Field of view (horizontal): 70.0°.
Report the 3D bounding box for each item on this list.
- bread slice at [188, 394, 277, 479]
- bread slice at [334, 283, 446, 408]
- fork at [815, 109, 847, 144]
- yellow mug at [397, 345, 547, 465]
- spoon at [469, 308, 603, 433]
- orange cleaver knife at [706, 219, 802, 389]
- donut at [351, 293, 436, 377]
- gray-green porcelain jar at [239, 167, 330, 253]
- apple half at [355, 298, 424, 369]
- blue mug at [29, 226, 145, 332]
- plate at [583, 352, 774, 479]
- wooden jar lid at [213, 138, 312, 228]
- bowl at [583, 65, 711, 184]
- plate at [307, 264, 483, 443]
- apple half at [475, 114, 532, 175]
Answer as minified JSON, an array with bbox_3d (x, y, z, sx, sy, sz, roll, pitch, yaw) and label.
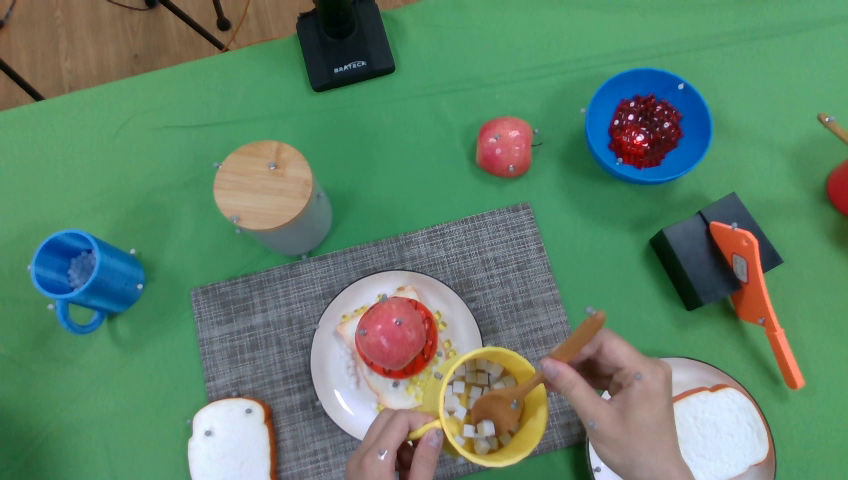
[{"bbox_3d":[-0.229,0.249,0.715,0.105,0.019,0.131,-7,76,-1],"label":"bread slice"},{"bbox_3d":[-0.029,0.131,0.728,0.107,0.018,0.133,-31,75,-5],"label":"bread slice"},{"bbox_3d":[0.508,-0.100,0.709,0.209,0.018,0.028,27,73,-33],"label":"fork"},{"bbox_3d":[0.038,0.153,0.543,0.131,0.064,0.099,-16,79,-17],"label":"yellow mug"},{"bbox_3d":[0.089,0.112,0.493,0.041,0.194,0.021,32,47,0],"label":"spoon"},{"bbox_3d":[0.381,0.073,0.704,0.012,0.077,0.212,-25,97,-11],"label":"orange cleaver knife"},{"bbox_3d":[-0.035,0.110,0.703,0.099,0.048,0.098,-1,76,3],"label":"donut"},{"bbox_3d":[-0.174,-0.045,0.737,0.106,0.127,0.105,-1,75,3],"label":"gray-green porcelain jar"},{"bbox_3d":[-0.039,0.101,0.667,0.081,0.033,0.081,-3,72,10],"label":"apple half"},{"bbox_3d":[-0.406,0.053,0.731,0.082,0.106,0.116,5,75,4],"label":"blue mug"},{"bbox_3d":[0.283,0.234,0.689,0.209,0.038,0.208,-1,75,3],"label":"plate"},{"bbox_3d":[-0.178,-0.062,0.675,0.108,0.021,0.107,0,73,1],"label":"wooden jar lid"},{"bbox_3d":[0.270,-0.133,0.765,0.151,0.077,0.150,-1,76,3],"label":"bowl"},{"bbox_3d":[-0.034,0.134,0.726,0.207,0.039,0.206,-1,76,3],"label":"plate"},{"bbox_3d":[0.103,-0.130,0.785,0.074,0.053,0.080,6,76,7],"label":"apple half"}]
